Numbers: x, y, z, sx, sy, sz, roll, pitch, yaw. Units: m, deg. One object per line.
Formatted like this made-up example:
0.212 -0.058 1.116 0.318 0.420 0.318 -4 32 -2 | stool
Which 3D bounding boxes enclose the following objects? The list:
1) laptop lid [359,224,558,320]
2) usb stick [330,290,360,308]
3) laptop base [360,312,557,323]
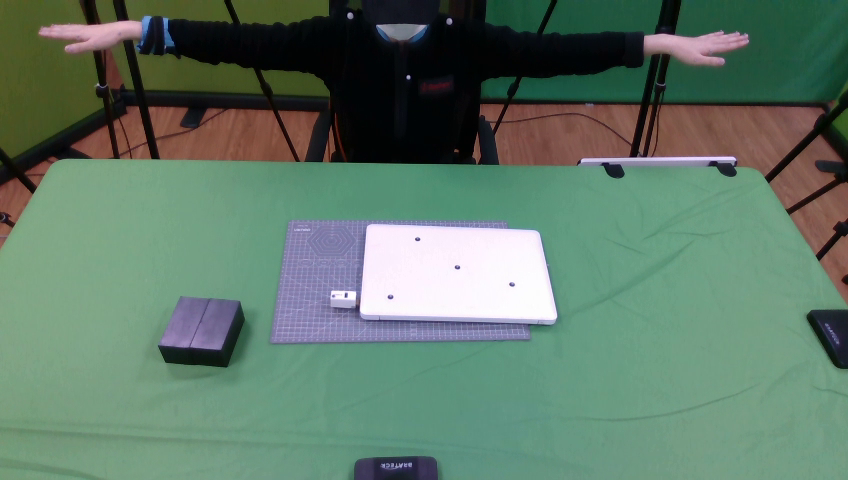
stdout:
0.062 0.053 1.138 0.357 0.013 0.240 3 44 -2 | laptop lid
-0.135 0.105 1.068 0.059 0.027 0.021 6 44 -7 | usb stick
0.061 0.063 1.145 0.354 0.023 0.234 2 43 -3 | laptop base
